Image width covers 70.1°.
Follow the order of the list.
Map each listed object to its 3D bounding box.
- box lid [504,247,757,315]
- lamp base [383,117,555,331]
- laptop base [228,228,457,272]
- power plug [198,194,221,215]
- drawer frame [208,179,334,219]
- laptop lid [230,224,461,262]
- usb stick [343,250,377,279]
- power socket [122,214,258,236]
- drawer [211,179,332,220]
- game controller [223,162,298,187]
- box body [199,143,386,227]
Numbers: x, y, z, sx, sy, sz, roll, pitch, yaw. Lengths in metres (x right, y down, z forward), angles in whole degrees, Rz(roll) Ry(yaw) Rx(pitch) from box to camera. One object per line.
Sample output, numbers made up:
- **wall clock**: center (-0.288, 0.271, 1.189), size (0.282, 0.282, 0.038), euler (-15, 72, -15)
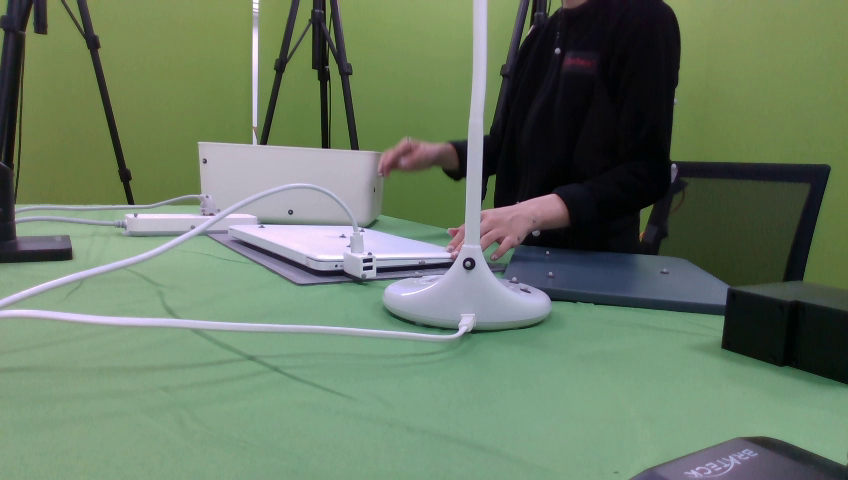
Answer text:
- **box lid**: center (0.244, 0.044, 0.793), size (0.263, 0.015, 0.372), euler (4, 7, 10)
- **lamp base**: center (0.045, -0.019, 0.547), size (0.161, 0.180, 0.179), euler (2, 10, -4)
- **laptop base**: center (-0.122, 0.011, 0.889), size (0.237, 0.023, 0.352), euler (2, 6, -35)
- **power plug**: center (-0.387, -0.055, 1.089), size (0.035, 0.052, 0.072), euler (-1, 7, -22)
- **drawer frame**: center (-0.326, -0.093, 1.328), size (0.213, 0.082, 0.202), euler (-1, 5, 6)
- **laptop lid**: center (-0.120, 0.000, 0.888), size (0.243, 0.013, 0.355), euler (1, 7, -33)
- **usb stick**: center (-0.076, 0.026, 0.687), size (0.021, 0.027, 0.059), euler (-8, 8, -31)
- **power socket**: center (-0.398, -0.028, 1.049), size (0.228, 0.032, 0.072), euler (-3, 8, -34)
- **drawer**: center (-0.328, -0.095, 1.331), size (0.212, 0.073, 0.194), euler (5, 8, 5)
- **game controller**: center (-0.357, -0.143, 1.322), size (0.156, 0.051, 0.097), euler (1, 3, -17)
- **box body**: center (-0.276, -0.124, 1.334), size (0.364, 0.160, 0.254), euler (3, 7, 1)
